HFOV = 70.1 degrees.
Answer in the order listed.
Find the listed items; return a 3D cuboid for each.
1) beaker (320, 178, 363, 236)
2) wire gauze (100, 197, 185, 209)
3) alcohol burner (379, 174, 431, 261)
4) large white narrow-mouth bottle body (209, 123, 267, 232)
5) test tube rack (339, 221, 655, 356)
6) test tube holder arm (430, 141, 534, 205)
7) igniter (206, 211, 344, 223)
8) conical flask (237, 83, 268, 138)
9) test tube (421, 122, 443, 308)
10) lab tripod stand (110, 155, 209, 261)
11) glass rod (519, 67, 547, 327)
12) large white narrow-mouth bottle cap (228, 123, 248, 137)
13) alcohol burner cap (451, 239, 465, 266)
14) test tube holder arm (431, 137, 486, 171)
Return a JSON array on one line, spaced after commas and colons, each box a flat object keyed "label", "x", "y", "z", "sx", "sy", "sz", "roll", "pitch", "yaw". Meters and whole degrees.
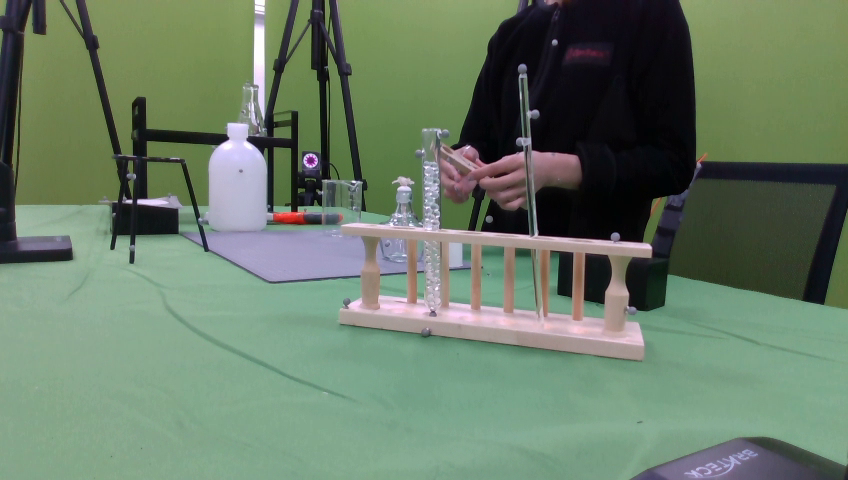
[{"label": "beaker", "x": -0.145, "y": -0.059, "z": 1.079, "sx": 0.074, "sy": 0.100, "sz": 0.083, "roll": -4, "pitch": 10, "yaw": -36}, {"label": "wire gauze", "x": -0.469, "y": -0.062, "z": 1.008, "sx": 0.126, "sy": 0.011, "sz": 0.121, "roll": -2, "pitch": 8, "yaw": -25}, {"label": "alcohol burner", "x": -0.027, "y": -0.031, "z": 0.838, "sx": 0.078, "sy": 0.119, "sz": 0.078, "roll": 0, "pitch": 6, "yaw": 0}, {"label": "large white narrow-mouth bottle body", "x": -0.340, "y": -0.115, "z": 1.109, "sx": 0.102, "sy": 0.194, "sz": 0.102, "roll": 2, "pitch": 8, "yaw": 0}, {"label": "test tube rack", "x": 0.056, "y": 0.032, "z": 0.495, "sx": 0.242, "sy": 0.085, "sz": 0.067, "roll": 4, "pitch": 7, "yaw": 15}, {"label": "test tube holder arm", "x": 0.087, "y": -0.096, "z": 0.883, "sx": 0.179, "sy": 0.013, "sz": 0.015, "roll": 29, "pitch": -39, "yaw": -18}, {"label": "igniter", "x": -0.302, "y": -0.048, "z": 1.249, "sx": 0.278, "sy": 0.025, "sz": 0.057, "roll": -2, "pitch": -2, "yaw": -26}, {"label": "conical flask", "x": -0.402, "y": -0.299, "z": 1.406, "sx": 0.075, "sy": 0.122, "sz": 0.075, "roll": 2, "pitch": 7, "yaw": 0}, {"label": "test tube", "x": 0.007, "y": -0.019, "z": 0.486, "sx": 0.017, "sy": 0.150, "sz": 0.017, "roll": -1, "pitch": 8, "yaw": 0}, {"label": "lab tripod stand", "x": -0.361, "y": -0.046, "z": 0.806, "sx": 0.148, "sy": 0.131, "sz": 0.148, "roll": 2, "pitch": 5, "yaw": 0}, {"label": "glass rod", "x": 0.084, "y": -0.028, "z": 0.458, "sx": 0.008, "sy": 0.199, "sz": 0.008, "roll": -6, "pitch": 11, "yaw": 2}, {"label": "large white narrow-mouth bottle cap", "x": -0.338, "y": -0.199, "z": 1.097, "sx": 0.038, "sy": 0.024, "sz": 0.037, "roll": 2, "pitch": 8, "yaw": 0}, {"label": "alcohol burner cap", "x": 0.041, "y": 0.010, "z": 0.815, "sx": 0.034, "sy": 0.048, "sz": 0.034, "roll": 3, "pitch": 8, "yaw": 0}, {"label": "test tube holder arm", "x": 0.050, "y": -0.121, "z": 0.872, "sx": 0.088, "sy": 0.010, "sz": 0.015, "roll": 29, "pitch": -39, "yaw": -18}]
